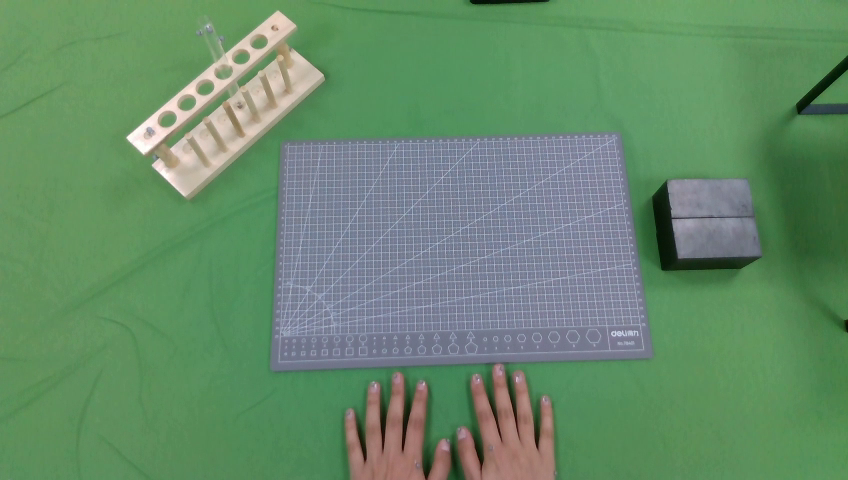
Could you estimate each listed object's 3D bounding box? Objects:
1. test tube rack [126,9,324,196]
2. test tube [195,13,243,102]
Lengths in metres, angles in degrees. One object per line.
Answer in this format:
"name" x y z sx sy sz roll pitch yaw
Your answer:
"test tube rack" -0.242 -0.173 0.765 0.066 0.085 0.242 41 76 12
"test tube" -0.242 -0.214 0.727 0.017 0.151 0.017 0 68 -1
